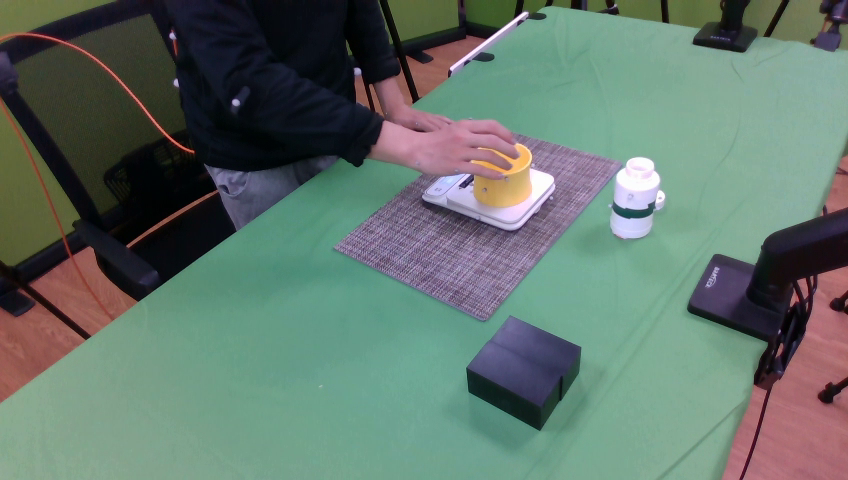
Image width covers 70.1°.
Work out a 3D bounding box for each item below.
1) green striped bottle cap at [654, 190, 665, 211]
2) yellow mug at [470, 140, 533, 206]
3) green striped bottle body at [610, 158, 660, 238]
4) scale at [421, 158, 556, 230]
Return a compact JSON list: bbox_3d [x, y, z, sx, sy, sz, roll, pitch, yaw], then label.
[{"bbox_3d":[0.374,-0.066,0.998,0.044,0.020,0.044,-8,38,7],"label":"green striped bottle cap"},{"bbox_3d":[0.125,-0.121,1.004,0.100,0.064,0.130,-13,40,-5],"label":"yellow mug"},{"bbox_3d":[0.323,-0.066,0.924,0.063,0.120,0.063,-4,41,4],"label":"green striped bottle body"},{"bbox_3d":[0.110,-0.089,1.042,0.199,0.032,0.149,23,48,31],"label":"scale"}]
